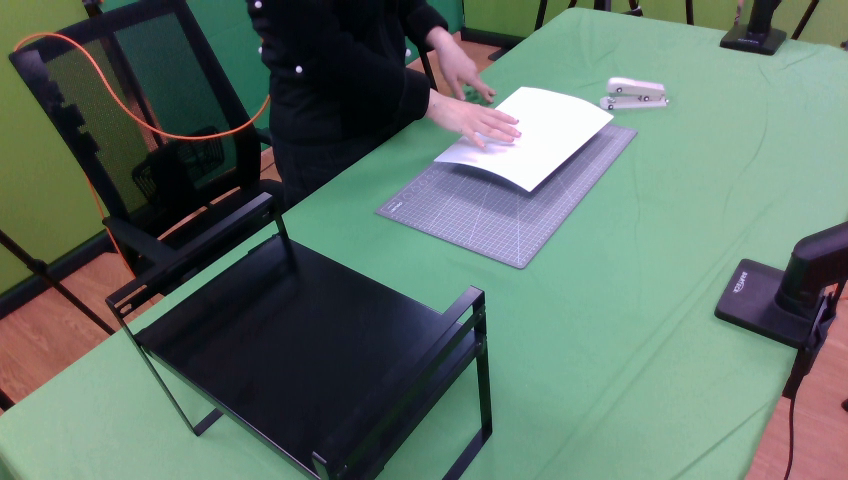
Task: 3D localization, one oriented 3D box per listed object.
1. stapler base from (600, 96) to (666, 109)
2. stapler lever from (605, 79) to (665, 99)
[{"bbox_3d":[0.432,-0.292,1.251,0.130,0.024,0.041,0,44,7],"label":"stapler base"},{"bbox_3d":[0.431,-0.310,1.235,0.118,0.040,0.026,-1,44,7],"label":"stapler lever"}]
